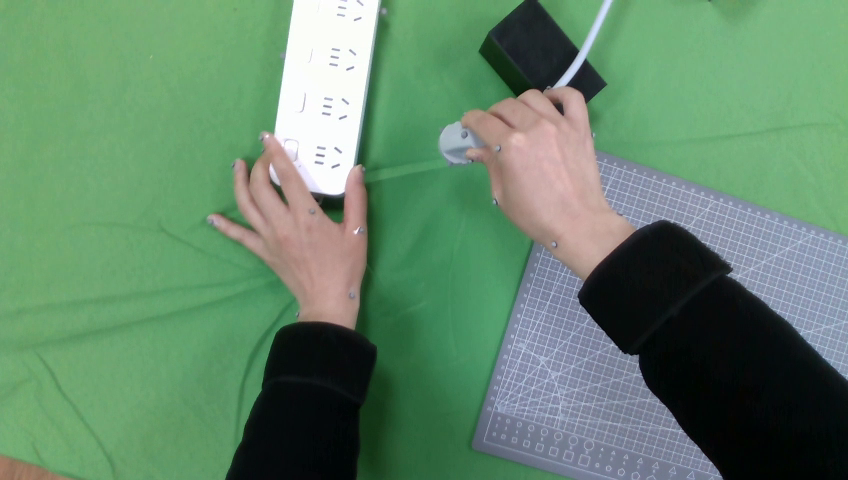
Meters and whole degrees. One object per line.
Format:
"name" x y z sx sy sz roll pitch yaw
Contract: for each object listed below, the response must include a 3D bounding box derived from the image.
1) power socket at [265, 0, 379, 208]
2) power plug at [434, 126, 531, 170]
"power socket" -0.088 -0.141 0.530 0.072 0.032 0.226 9 90 -6
"power plug" 0.045 -0.073 0.492 0.073 0.052 0.035 4 87 -9
